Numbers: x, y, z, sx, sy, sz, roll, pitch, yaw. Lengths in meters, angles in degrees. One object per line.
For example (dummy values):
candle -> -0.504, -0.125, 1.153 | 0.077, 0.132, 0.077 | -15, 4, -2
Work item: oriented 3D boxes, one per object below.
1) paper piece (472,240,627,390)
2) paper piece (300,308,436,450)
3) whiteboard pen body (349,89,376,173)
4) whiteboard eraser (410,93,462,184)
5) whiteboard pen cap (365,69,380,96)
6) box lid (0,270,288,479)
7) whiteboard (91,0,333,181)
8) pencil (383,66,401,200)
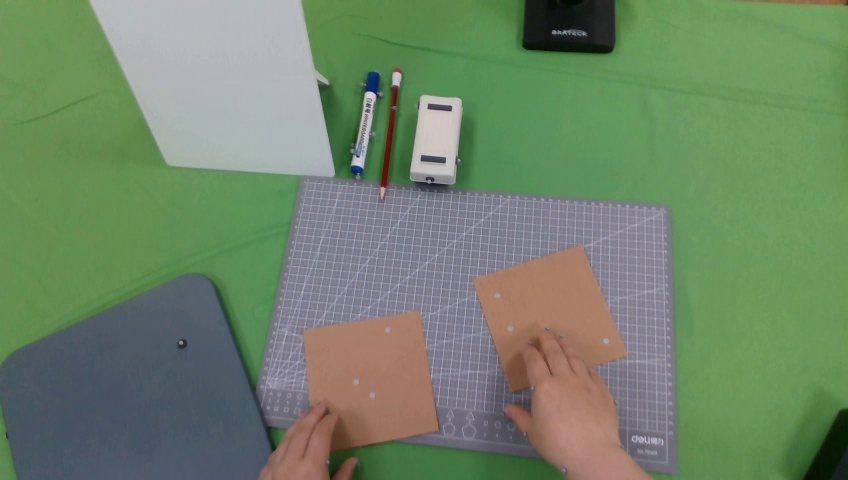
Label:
paper piece -> 0.138, 0.082, 0.677 | 0.136, 0.009, 0.137 | -17, 72, 1
paper piece -> -0.063, 0.149, 0.662 | 0.135, 0.004, 0.134 | -9, 70, -1
whiteboard pen body -> -0.076, -0.150, 0.770 | 0.017, 0.017, 0.140 | 6, 70, 5
whiteboard eraser -> 0.015, -0.124, 0.744 | 0.055, 0.042, 0.112 | 4, 70, 6
whiteboard pen cap -> -0.067, -0.205, 0.789 | 0.018, 0.018, 0.033 | 4, 69, 5
box lid -> -0.297, 0.231, 0.644 | 0.263, 0.015, 0.368 | -25, 71, -6
whiteboard -> -0.213, -0.233, 0.686 | 0.217, 0.308, 0.142 | 5, 51, 5
pencil -> -0.041, -0.138, 0.767 | 0.012, 0.012, 0.193 | 3, 70, 4
